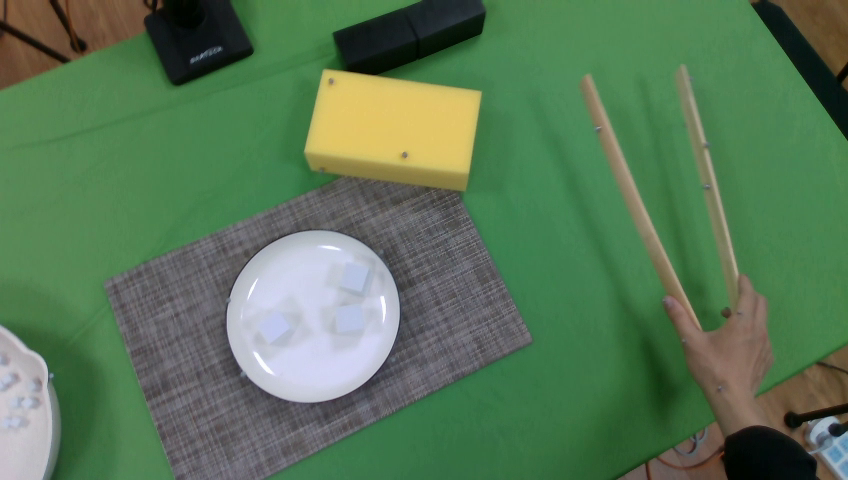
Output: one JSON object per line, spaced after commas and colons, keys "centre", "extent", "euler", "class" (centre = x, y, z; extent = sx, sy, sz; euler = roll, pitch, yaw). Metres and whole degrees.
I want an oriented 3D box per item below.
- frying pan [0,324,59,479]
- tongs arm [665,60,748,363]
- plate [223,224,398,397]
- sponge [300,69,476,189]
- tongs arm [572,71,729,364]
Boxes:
{"centre": [-0.489, 0.301, 0.637], "extent": [0.307, 0.103, 0.484], "euler": [-33, 71, -9], "class": "frying pan"}
{"centre": [0.334, -0.044, 0.744], "extent": [0.051, 0.026, 0.382], "euler": [-6, 76, -15], "class": "tongs arm"}
{"centre": [-0.135, 0.084, 0.734], "extent": [0.208, 0.039, 0.206], "euler": [0, 76, -2], "class": "plate"}
{"centre": [-0.043, -0.143, 0.783], "extent": [0.207, 0.061, 0.117], "euler": [7, 74, 1], "class": "sponge"}
{"centre": [0.261, -0.031, 0.726], "extent": [0.028, 0.028, 0.385], "euler": [-17, 79, -21], "class": "tongs arm"}
